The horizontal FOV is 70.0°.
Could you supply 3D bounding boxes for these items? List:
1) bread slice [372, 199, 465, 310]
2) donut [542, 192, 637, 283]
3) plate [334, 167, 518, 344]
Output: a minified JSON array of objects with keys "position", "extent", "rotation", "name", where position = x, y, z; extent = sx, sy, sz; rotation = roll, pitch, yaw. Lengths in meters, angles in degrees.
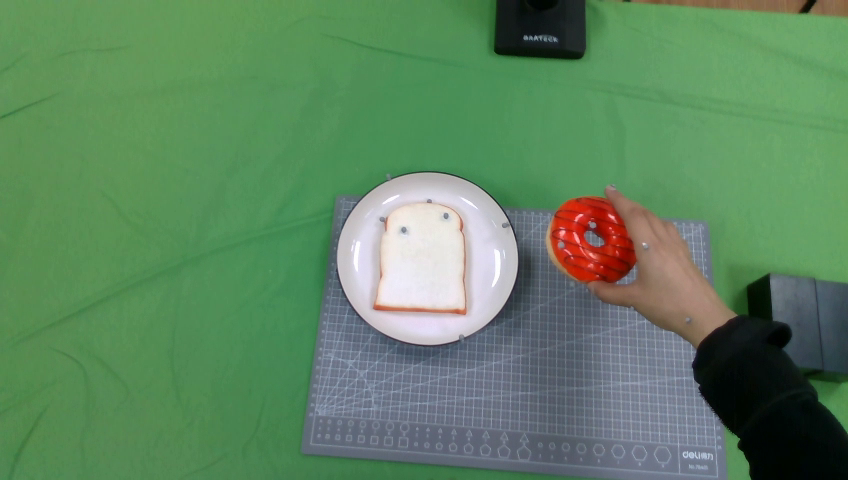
[{"position":[-0.005,0.014,0.697],"extent":[0.105,0.019,0.130],"rotation":[2,72,-1],"name":"bread slice"},{"position":[0.171,-0.003,0.625],"extent":[0.099,0.048,0.098],"rotation":[2,71,-5],"name":"donut"},{"position":[0.002,0.018,0.694],"extent":[0.209,0.038,0.207],"rotation":[0,71,-1],"name":"plate"}]
